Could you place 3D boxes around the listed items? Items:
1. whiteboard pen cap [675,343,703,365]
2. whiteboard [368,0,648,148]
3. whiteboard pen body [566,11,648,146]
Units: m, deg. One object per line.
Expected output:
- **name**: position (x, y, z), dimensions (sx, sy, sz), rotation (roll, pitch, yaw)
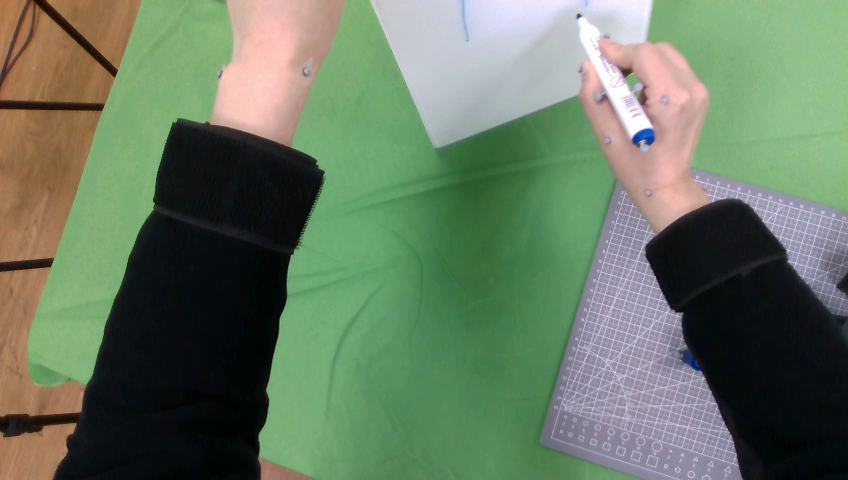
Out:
- **whiteboard pen cap**: position (0.249, 0.106, 0.572), dimensions (0.018, 0.033, 0.018), rotation (0, 91, 5)
- **whiteboard**: position (0.057, -0.241, 0.488), dimensions (0.217, 0.308, 0.142), rotation (-19, 68, 6)
- **whiteboard pen body**: position (0.128, -0.123, 0.440), dimensions (0.017, 0.017, 0.139), rotation (-18, 58, 5)
